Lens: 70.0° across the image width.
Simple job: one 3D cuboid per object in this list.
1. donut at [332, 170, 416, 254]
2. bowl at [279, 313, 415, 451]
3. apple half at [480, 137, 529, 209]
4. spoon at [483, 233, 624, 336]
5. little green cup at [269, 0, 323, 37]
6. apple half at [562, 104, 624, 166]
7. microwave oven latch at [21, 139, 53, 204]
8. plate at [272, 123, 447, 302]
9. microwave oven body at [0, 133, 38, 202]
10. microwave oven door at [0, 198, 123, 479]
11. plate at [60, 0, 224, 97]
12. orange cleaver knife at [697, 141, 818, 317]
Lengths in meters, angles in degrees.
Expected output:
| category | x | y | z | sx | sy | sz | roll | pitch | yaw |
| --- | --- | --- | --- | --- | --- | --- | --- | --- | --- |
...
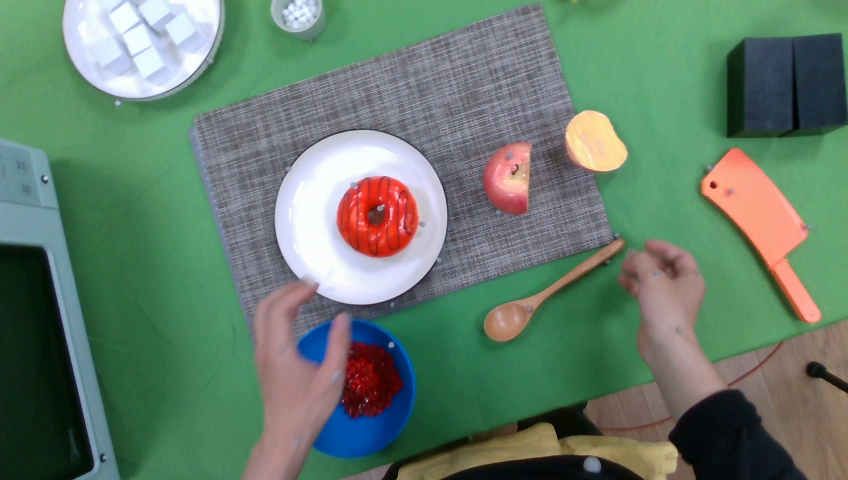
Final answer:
| category | x | y | z | sx | sy | sz | roll | pitch | yaw |
| --- | --- | --- | --- | --- | --- | --- | --- | --- | --- |
| donut | -0.058 | -0.033 | 0.705 | 0.099 | 0.048 | 0.099 | 0 | 90 | 6 |
| bowl | -0.081 | 0.156 | 0.696 | 0.151 | 0.077 | 0.151 | 0 | 88 | 6 |
| apple half | 0.091 | -0.075 | 0.685 | 0.053 | 0.075 | 0.081 | 1 | 92 | 10 |
| spoon | 0.152 | 0.049 | 0.704 | 0.194 | 0.022 | 0.041 | -35 | 69 | 4 |
| little green cup | -0.153 | -0.280 | 0.737 | 0.061 | 0.039 | 0.061 | 0 | 88 | 6 |
| apple half | 0.186 | -0.114 | 0.694 | 0.082 | 0.033 | 0.080 | 9 | 66 | -20 |
| microwave oven latch | -0.484 | -0.082 | 0.745 | 0.030 | 0.029 | 0.079 | -14 | 87 | 5 |
| plate | -0.075 | -0.032 | 0.718 | 0.209 | 0.038 | 0.209 | 0 | 88 | 6 |
| microwave oven body | -0.590 | 0.123 | 0.652 | 0.326 | 0.260 | 0.441 | -15 | 87 | 4 |
| microwave oven door | -0.439 | 0.125 | 0.632 | 0.039 | 0.244 | 0.355 | -16 | 86 | 5 |
| plate | -0.347 | -0.278 | 0.757 | 0.207 | 0.039 | 0.207 | 0 | 88 | 6 |
| orange cleaver knife | 0.390 | -0.014 | 0.684 | 0.077 | 0.012 | 0.211 | -33 | 84 | -1 |
